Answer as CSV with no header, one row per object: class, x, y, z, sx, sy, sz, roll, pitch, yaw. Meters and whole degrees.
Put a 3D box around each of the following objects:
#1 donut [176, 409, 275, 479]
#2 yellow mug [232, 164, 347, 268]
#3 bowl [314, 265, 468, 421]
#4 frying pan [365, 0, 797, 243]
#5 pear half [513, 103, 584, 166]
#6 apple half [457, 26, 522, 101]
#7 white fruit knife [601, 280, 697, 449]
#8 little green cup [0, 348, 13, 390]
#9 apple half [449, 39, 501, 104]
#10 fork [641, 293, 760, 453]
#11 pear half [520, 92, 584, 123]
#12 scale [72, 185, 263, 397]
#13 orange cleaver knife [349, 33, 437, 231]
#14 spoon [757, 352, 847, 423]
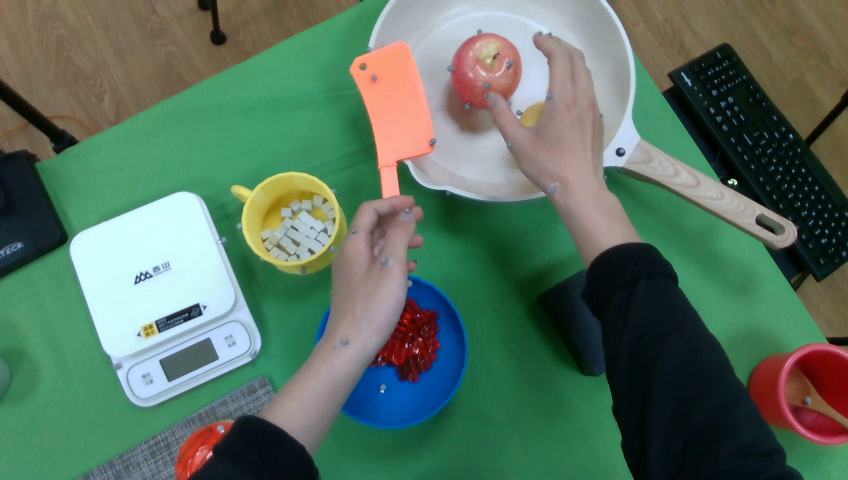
donut,-0.200,0.221,0.612,0.099,0.048,0.098,0,81,0
yellow mug,-0.150,-0.031,0.652,0.130,0.064,0.100,28,81,5
bowl,-0.032,0.105,0.625,0.151,0.077,0.151,0,80,-1
frying pan,0.167,-0.129,0.658,0.486,0.103,0.306,33,81,13
pear half,0.134,-0.112,0.646,0.076,0.110,0.056,8,80,3
apple half,0.079,-0.202,0.680,0.053,0.075,0.080,-37,79,-11
white fruit knife,0.231,0.131,0.626,0.016,0.027,0.208,-30,96,-6
little green cup,-0.464,0.136,0.628,0.061,0.039,0.061,0,79,-1
apple half,0.048,-0.178,0.673,0.033,0.081,0.081,-37,82,-13
fork,0.293,0.142,0.633,0.028,0.018,0.208,-38,98,-10
pear half,0.141,-0.145,0.663,0.070,0.088,0.031,7,81,2
scale,-0.275,0.052,0.651,0.149,0.031,0.200,-24,82,-5
orange cleaver knife,-0.027,-0.116,0.632,0.077,0.012,0.210,-10,81,-2
spoon,0.412,0.175,0.590,0.041,0.022,0.191,-33,38,-8
